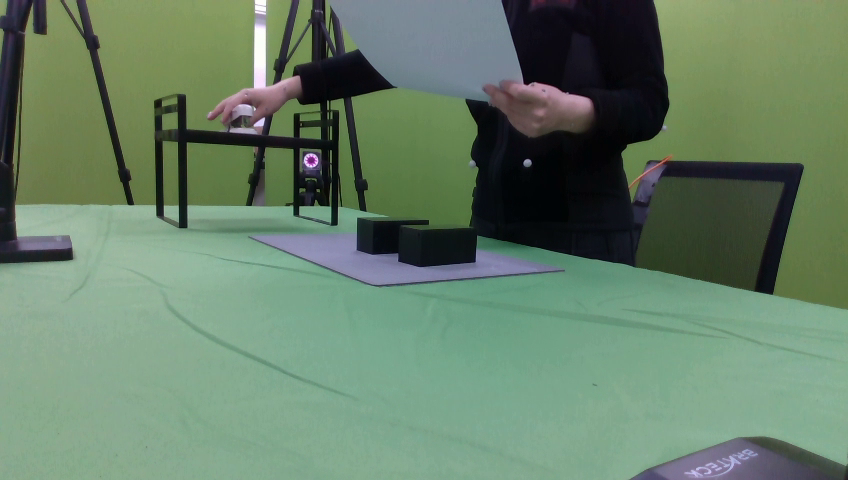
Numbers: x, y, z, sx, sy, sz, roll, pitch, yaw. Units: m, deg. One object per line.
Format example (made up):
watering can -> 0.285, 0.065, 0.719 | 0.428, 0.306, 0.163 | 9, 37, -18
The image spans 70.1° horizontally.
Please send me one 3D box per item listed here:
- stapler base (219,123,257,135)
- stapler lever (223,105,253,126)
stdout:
stapler base -> -0.375, -0.226, 1.220 | 0.041, 0.024, 0.130 | 0, 6, -35
stapler lever -> -0.376, -0.249, 1.218 | 0.027, 0.040, 0.117 | 0, 8, -35
